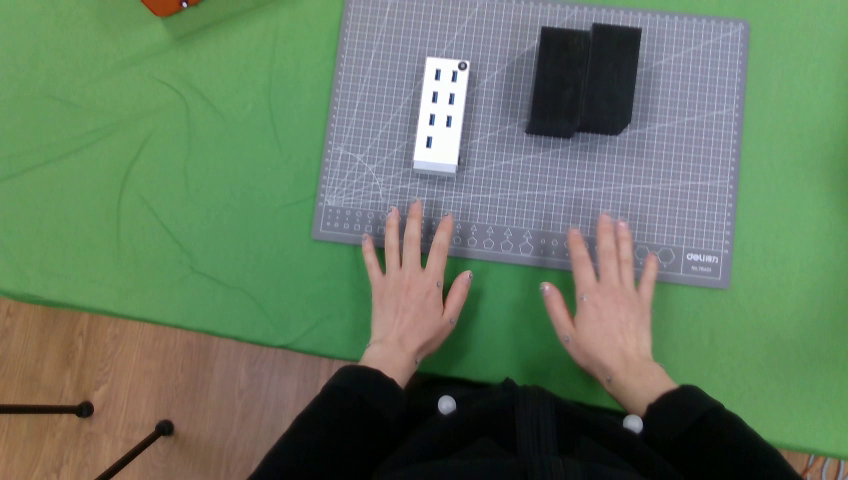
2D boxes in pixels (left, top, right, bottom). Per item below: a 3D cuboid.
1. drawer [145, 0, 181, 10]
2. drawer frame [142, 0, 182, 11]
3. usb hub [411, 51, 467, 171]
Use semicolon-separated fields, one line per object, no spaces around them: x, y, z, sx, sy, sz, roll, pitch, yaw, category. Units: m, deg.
-0.262;-0.394;0.669;0.194;0.073;0.211;-25;83;1;drawer
-0.263;-0.396;0.667;0.202;0.083;0.213;-26;83;1;drawer frame
0.016;-0.140;0.657;0.049;0.025;0.125;6;85;3;usb hub
